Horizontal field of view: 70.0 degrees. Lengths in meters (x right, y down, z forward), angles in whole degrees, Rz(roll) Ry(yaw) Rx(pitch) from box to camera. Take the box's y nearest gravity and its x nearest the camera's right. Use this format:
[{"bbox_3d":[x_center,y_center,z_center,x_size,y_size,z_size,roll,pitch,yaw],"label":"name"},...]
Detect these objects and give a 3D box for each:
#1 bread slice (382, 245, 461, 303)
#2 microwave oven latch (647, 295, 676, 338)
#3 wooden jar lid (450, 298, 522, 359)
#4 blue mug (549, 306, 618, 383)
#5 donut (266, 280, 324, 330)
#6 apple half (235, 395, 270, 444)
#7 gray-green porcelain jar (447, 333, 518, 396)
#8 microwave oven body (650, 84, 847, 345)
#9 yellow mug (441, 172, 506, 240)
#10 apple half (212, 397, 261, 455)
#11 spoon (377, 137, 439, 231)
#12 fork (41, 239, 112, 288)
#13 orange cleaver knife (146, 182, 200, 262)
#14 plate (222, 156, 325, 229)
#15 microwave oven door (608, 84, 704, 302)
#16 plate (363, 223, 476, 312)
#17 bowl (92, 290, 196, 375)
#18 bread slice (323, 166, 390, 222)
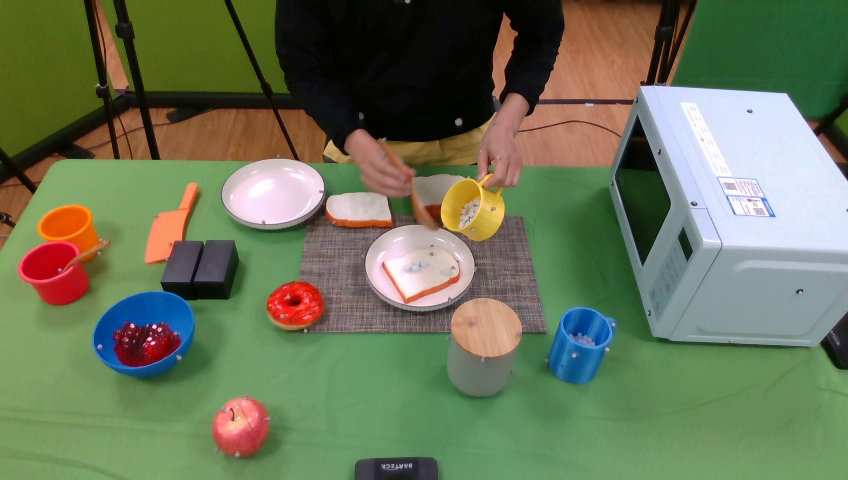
[{"bbox_3d":[0.000,0.054,1.128,0.131,0.019,0.104,-20,51,-21],"label":"bread slice"},{"bbox_3d":[0.413,0.133,1.060,0.030,0.029,0.078,4,46,1],"label":"microwave oven latch"},{"bbox_3d":[0.093,0.135,0.914,0.108,0.021,0.107,3,48,-3],"label":"wooden jar lid"},{"bbox_3d":[0.269,0.167,0.997,0.116,0.106,0.082,-19,51,-21],"label":"blue mug"},{"bbox_3d":[-0.223,0.113,1.051,0.099,0.048,0.098,2,45,-2],"label":"donut"},{"bbox_3d":[-0.245,0.259,0.893,0.033,0.082,0.081,-29,55,-22],"label":"apple half"},{"bbox_3d":[0.091,0.178,0.960,0.106,0.127,0.105,2,46,-2],"label":"gray-green porcelain jar"},{"bbox_3d":[0.569,-0.054,1.116,0.326,0.261,0.439,2,46,-1],"label":"microwave oven body"},{"bbox_3d":[0.097,-0.069,1.086,0.064,0.131,0.099,23,21,-41],"label":"yellow mug"},{"bbox_3d":[-0.276,0.276,0.877,0.053,0.075,0.080,-29,58,-21],"label":"apple half"},{"bbox_3d":[-0.027,-0.089,1.006,0.021,0.194,0.041,-38,26,-20],"label":"spoon"},{"bbox_3d":[-0.591,0.040,1.028,0.207,0.019,0.028,-27,36,29],"label":"fork"},{"bbox_3d":[-0.494,-0.039,1.198,0.077,0.012,0.210,-4,48,2],"label":"orange cleaver knife"},{"bbox_3d":[-0.308,-0.094,1.251,0.209,0.038,0.208,2,47,-2],"label":"plate"},{"bbox_3d":[0.424,-0.096,1.138,0.039,0.245,0.353,2,47,-1],"label":"microwave oven door"},{"bbox_3d":[-0.009,0.054,1.126,0.208,0.039,0.206,2,46,-2],"label":"plate"},{"bbox_3d":[-0.436,0.161,0.971,0.151,0.077,0.150,2,46,-2],"label":"bowl"},{"bbox_3d":[-0.140,-0.092,1.224,0.134,0.018,0.106,-19,51,5],"label":"bread slice"}]
